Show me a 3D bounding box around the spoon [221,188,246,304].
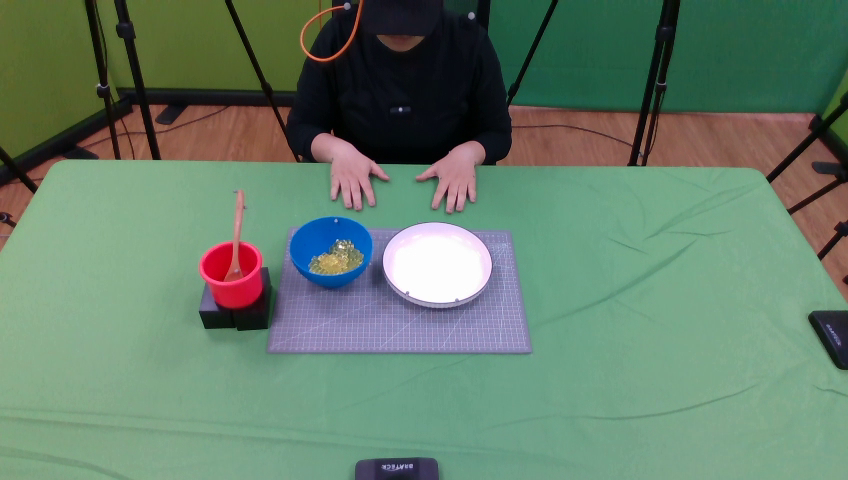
[{"bbox_3d":[-0.312,0.010,1.011,0.041,0.021,0.193,4,90,2],"label":"spoon"}]

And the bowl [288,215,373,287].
[{"bbox_3d":[-0.168,0.034,1.109,0.151,0.077,0.150,2,46,-2],"label":"bowl"}]

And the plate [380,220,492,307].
[{"bbox_3d":[0.022,0.048,1.137,0.208,0.039,0.206,2,46,-2],"label":"plate"}]
